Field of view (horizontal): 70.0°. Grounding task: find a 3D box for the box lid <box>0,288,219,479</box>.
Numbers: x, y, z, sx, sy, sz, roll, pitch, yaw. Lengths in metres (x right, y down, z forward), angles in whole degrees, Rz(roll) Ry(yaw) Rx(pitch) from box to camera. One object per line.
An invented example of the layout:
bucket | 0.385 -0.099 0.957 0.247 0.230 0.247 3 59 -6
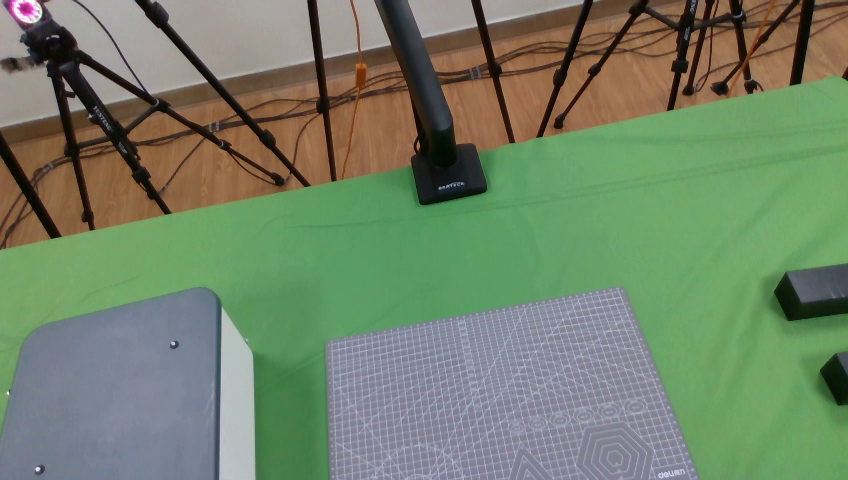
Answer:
box lid | -0.363 0.229 0.685 0.263 0.015 0.367 -13 54 -1

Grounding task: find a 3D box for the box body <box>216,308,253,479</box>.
box body | -0.353 0.275 0.744 0.254 0.162 0.360 -13 54 -1

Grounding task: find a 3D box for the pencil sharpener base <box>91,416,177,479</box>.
pencil sharpener base | -0.363 0.281 0.767 0.061 0.108 0.076 -15 55 -3
